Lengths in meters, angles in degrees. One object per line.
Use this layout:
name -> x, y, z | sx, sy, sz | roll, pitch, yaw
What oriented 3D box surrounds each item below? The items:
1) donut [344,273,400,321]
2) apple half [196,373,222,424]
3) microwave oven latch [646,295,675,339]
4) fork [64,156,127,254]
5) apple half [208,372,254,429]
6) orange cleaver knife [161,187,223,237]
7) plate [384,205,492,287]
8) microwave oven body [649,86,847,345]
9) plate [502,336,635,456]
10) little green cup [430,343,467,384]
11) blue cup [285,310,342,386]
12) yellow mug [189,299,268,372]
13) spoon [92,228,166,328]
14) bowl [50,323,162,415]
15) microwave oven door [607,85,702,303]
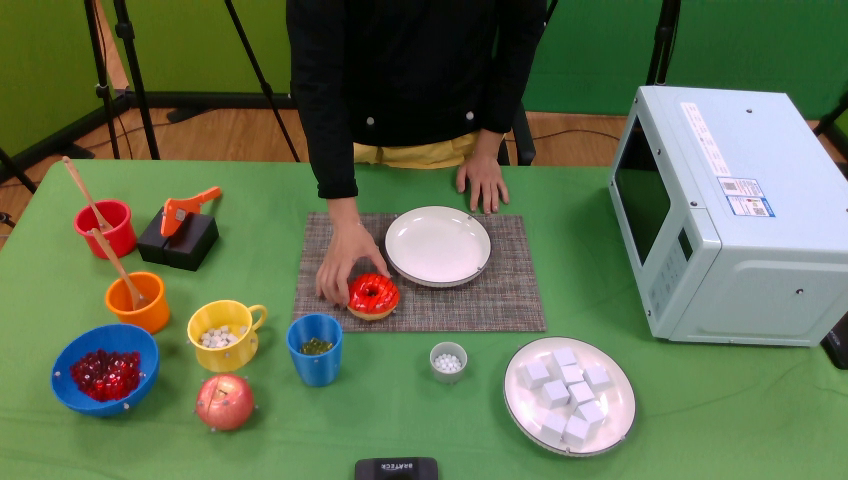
donut -> -0.092, 0.100, 1.076 | 0.099, 0.048, 0.098 | 2, 44, -2
apple half -> -0.322, 0.239, 0.907 | 0.033, 0.081, 0.081 | 7, 46, -1
microwave oven latch -> 0.412, 0.134, 1.061 | 0.030, 0.029, 0.078 | 4, 45, 1
fork -> -0.614, -0.064, 1.130 | 0.028, 0.018, 0.207 | -30, 97, -18
apple half -> -0.283, 0.244, 0.908 | 0.053, 0.075, 0.080 | 7, 42, -1
orange cleaver knife -> -0.448, -0.058, 1.180 | 0.012, 0.077, 0.211 | 13, 17, 6
plate -> 0.027, 0.015, 1.169 | 0.209, 0.038, 0.208 | 2, 46, -2
microwave oven body -> 0.568, -0.053, 1.118 | 0.326, 0.261, 0.439 | 2, 45, -1
plate -> 0.225, 0.248, 0.963 | 0.208, 0.039, 0.206 | 2, 46, -2
little green cup -> 0.039, 0.203, 0.994 | 0.061, 0.039, 0.061 | 2, 46, -2
blue cup -> -0.170, 0.179, 0.958 | 0.093, 0.101, 0.092 | 1, 44, -1
yellow mug -> -0.316, 0.148, 1.002 | 0.131, 0.064, 0.099 | -32, 56, -31
spoon -> -0.495, 0.063, 1.014 | 0.041, 0.194, 0.021 | -34, 13, -31
bowl -> -0.472, 0.209, 0.924 | 0.151, 0.077, 0.150 | 3, 45, -2
microwave oven door -> 0.423, -0.094, 1.141 | 0.039, 0.245, 0.353 | 2, 46, -1
